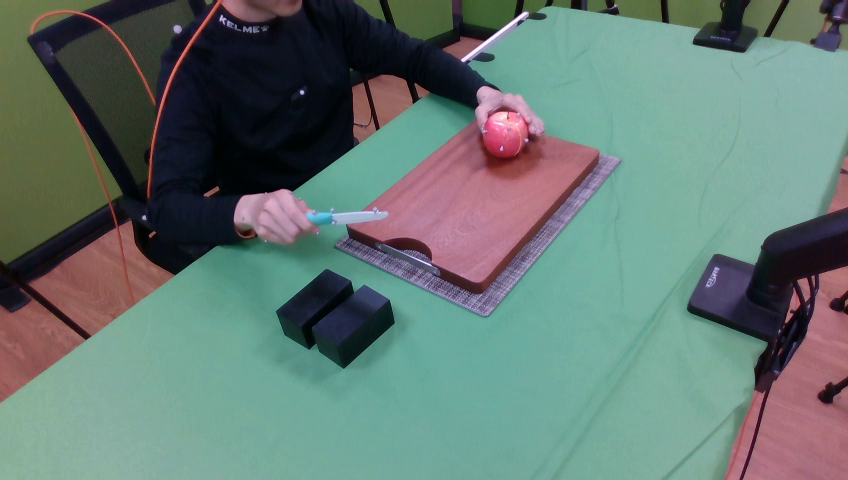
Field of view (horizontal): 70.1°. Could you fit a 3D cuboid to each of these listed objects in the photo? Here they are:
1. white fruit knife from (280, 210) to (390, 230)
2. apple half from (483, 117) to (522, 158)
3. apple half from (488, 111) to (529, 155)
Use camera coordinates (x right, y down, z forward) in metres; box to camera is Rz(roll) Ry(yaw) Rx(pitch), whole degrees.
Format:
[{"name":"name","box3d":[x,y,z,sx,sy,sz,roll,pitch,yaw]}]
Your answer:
[{"name":"white fruit knife","box3d":[-0.130,-0.030,0.842,0.206,0.027,0.016,-4,52,34]},{"name":"apple half","box3d":[0.131,-0.174,1.068,0.080,0.081,0.033,22,47,30]},{"name":"apple half","box3d":[0.156,-0.196,1.091,0.080,0.075,0.053,18,43,33]}]
